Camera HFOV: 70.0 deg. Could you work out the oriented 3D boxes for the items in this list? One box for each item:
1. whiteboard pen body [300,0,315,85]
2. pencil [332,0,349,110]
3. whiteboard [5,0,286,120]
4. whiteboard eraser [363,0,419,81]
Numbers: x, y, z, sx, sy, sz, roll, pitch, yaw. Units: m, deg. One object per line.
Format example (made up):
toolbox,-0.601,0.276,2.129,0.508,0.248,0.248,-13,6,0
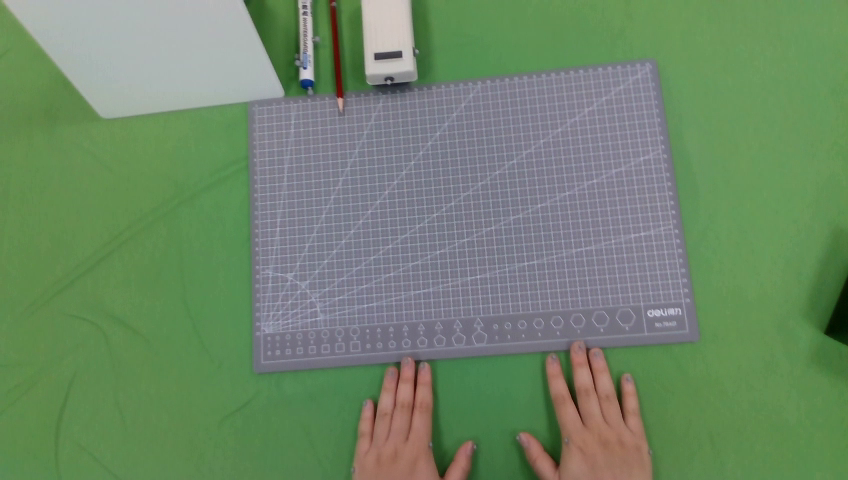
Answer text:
whiteboard pen body,-0.133,-0.243,0.685,0.017,0.017,0.140,-4,80,5
pencil,-0.096,-0.237,0.685,0.012,0.012,0.193,-8,79,4
whiteboard,-0.280,-0.284,0.591,0.217,0.308,0.142,-5,60,5
whiteboard eraser,-0.038,-0.230,0.664,0.055,0.042,0.112,-6,80,5
